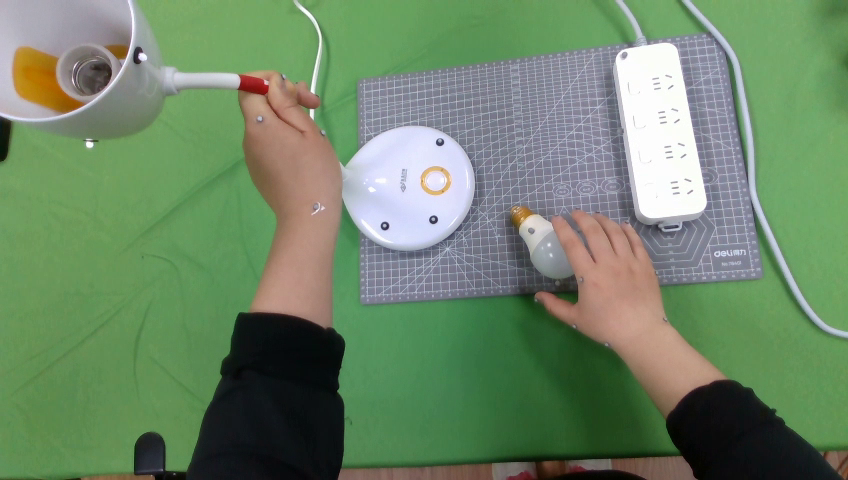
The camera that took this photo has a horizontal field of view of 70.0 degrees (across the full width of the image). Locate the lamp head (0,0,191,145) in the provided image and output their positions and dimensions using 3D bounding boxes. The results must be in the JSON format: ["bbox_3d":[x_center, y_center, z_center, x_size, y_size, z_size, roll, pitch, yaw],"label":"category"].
[{"bbox_3d":[-0.224,-0.114,0.407,0.112,0.123,0.112,0,84,3],"label":"lamp head"}]

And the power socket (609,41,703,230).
[{"bbox_3d":[0.262,-0.124,0.690,0.072,0.033,0.225,-7,75,9],"label":"power socket"}]

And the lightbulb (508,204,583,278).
[{"bbox_3d":[0.131,-0.003,0.679,0.059,0.060,0.106,-41,57,0],"label":"lightbulb"}]

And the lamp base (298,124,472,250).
[{"bbox_3d":[-0.049,-0.081,0.664,0.179,0.181,0.159,-11,75,11],"label":"lamp base"}]
